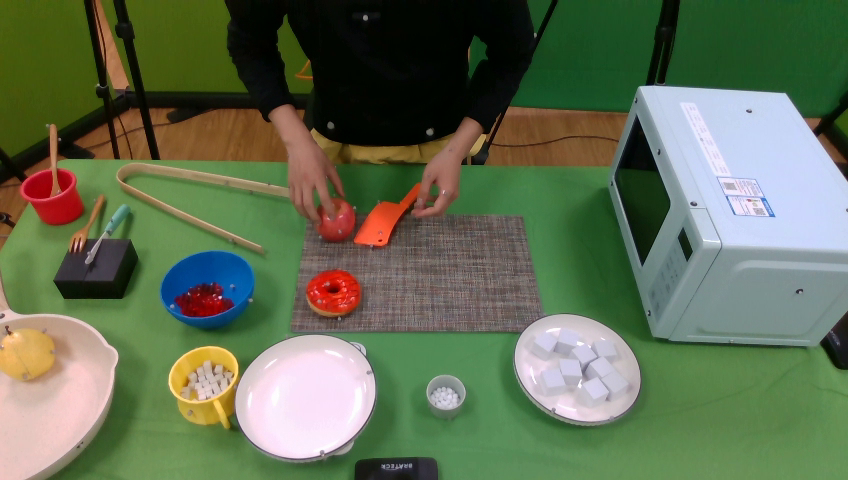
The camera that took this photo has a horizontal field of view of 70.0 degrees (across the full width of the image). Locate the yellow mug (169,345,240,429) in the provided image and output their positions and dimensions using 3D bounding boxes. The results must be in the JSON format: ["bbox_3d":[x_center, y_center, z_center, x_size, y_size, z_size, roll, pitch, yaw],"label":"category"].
[{"bbox_3d":[-0.322,0.231,0.922,0.100,0.064,0.130,-24,53,-25],"label":"yellow mug"}]

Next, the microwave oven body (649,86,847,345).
[{"bbox_3d":[0.568,-0.053,1.118,0.326,0.261,0.439,2,45,-1],"label":"microwave oven body"}]

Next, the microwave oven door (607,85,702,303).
[{"bbox_3d":[0.423,-0.094,1.140,0.039,0.245,0.353,2,46,-1],"label":"microwave oven door"}]

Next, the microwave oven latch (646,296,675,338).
[{"bbox_3d":[0.412,0.134,1.061,0.030,0.029,0.078,4,45,1],"label":"microwave oven latch"}]

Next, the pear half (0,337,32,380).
[{"bbox_3d":[-0.631,0.184,0.921,0.070,0.088,0.031,29,49,19],"label":"pear half"}]

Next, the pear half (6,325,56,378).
[{"bbox_3d":[-0.608,0.158,0.935,0.076,0.110,0.056,31,51,20],"label":"pear half"}]

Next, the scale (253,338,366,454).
[{"bbox_3d":[-0.175,0.236,0.951,0.149,0.032,0.199,4,46,0],"label":"scale"}]

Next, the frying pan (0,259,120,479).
[{"bbox_3d":[-0.647,0.164,0.936,0.307,0.103,0.485,-19,58,-22],"label":"frying pan"}]

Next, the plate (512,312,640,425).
[{"bbox_3d":[0.246,0.213,0.999,0.208,0.039,0.206,2,46,-2],"label":"plate"}]

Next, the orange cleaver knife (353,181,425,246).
[{"bbox_3d":[-0.069,-0.059,1.245,0.077,0.012,0.210,18,50,21],"label":"orange cleaver knife"}]

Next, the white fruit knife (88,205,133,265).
[{"bbox_3d":[-0.584,-0.013,1.129,0.016,0.027,0.206,0,32,-5],"label":"white fruit knife"}]

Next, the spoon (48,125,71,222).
[{"bbox_3d":[-0.719,-0.131,1.188,0.041,0.021,0.193,-3,90,-6],"label":"spoon"}]

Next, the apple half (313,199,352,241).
[{"bbox_3d":[-0.185,-0.033,1.176,0.080,0.075,0.053,35,57,22],"label":"apple half"}]

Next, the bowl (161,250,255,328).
[{"bbox_3d":[-0.362,0.098,1.039,0.151,0.077,0.150,2,45,-2],"label":"bowl"}]

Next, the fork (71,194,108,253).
[{"bbox_3d":[-0.634,-0.036,1.158,0.028,0.019,0.206,-8,32,-8],"label":"fork"}]

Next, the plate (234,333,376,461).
[{"bbox_3d":[-0.174,0.235,0.907,0.209,0.038,0.208,2,46,-2],"label":"plate"}]

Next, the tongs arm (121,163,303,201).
[{"bbox_3d":[-0.444,-0.114,1.266,0.384,0.026,0.050,12,50,7],"label":"tongs arm"}]

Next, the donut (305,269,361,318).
[{"bbox_3d":[-0.160,0.094,1.075,0.099,0.048,0.098,3,45,-3],"label":"donut"}]

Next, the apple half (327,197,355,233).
[{"bbox_3d":[-0.158,-0.054,1.196,0.081,0.082,0.033,34,58,26],"label":"apple half"}]

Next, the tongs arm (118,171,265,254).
[{"bbox_3d":[-0.473,-0.055,1.211,0.386,0.028,0.028,23,56,17],"label":"tongs arm"}]

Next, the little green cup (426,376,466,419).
[{"bbox_3d":[0.033,0.248,0.950,0.061,0.039,0.061,2,46,-2],"label":"little green cup"}]
